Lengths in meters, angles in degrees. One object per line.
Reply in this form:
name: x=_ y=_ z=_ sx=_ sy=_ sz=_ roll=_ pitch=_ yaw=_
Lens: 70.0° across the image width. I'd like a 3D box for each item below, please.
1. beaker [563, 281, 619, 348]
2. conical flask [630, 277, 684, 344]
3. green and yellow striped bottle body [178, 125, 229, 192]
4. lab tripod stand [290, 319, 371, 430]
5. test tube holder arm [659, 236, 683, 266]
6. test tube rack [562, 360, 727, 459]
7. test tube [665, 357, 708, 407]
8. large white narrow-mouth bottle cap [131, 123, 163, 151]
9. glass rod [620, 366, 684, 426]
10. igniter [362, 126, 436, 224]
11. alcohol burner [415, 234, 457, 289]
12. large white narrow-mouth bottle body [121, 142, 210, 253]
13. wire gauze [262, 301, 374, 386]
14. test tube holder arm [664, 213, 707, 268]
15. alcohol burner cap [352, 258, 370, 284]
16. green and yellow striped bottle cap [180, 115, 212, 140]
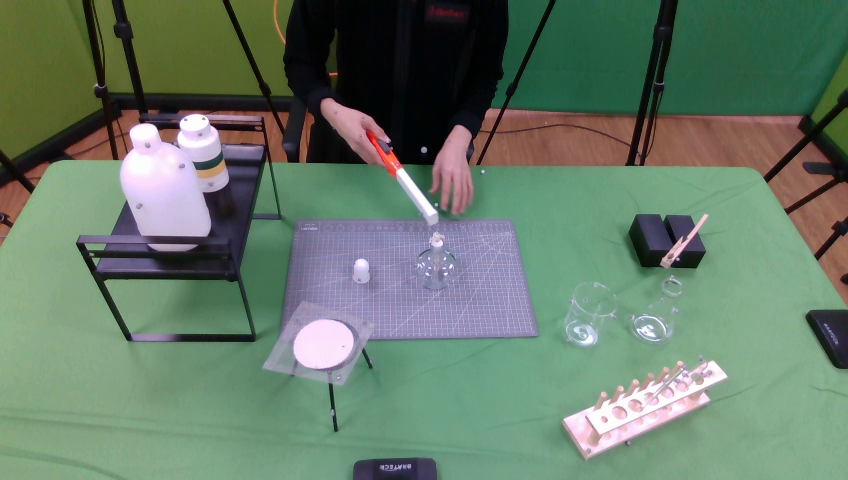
beaker: x=0.283 y=0.129 z=1.041 sx=0.074 sy=0.101 sz=0.083 roll=11 pitch=46 yaw=6
conical flask: x=0.408 y=0.117 z=1.045 sx=0.075 sy=0.122 sz=0.075 roll=2 pitch=46 yaw=-2
green and yellow striped bottle body: x=-0.361 y=-0.142 z=0.989 sx=0.063 sy=0.120 sz=0.063 roll=2 pitch=46 yaw=-2
lab tripod stand: x=-0.146 y=0.193 z=0.923 sx=0.148 sy=0.132 sz=0.147 roll=1 pitch=47 yaw=-1
test tube holder arm: x=0.472 y=0.020 z=1.149 sx=0.010 sy=0.015 sz=0.088 roll=35 pitch=54 yaw=27
test tube rack: x=0.341 y=0.247 z=0.940 sx=0.243 sy=0.085 sz=0.066 roll=-16 pitch=49 yaw=-18
test tube: x=0.387 y=0.216 z=0.905 sx=0.017 sy=0.151 sz=0.017 roll=1 pitch=53 yaw=-1
large white narrow-mouth bottle cap: x=-0.371 y=-0.138 z=0.812 sx=0.038 sy=0.024 sz=0.037 roll=3 pitch=46 yaw=-3
glass rod: x=0.322 y=0.227 z=0.866 sx=0.008 sy=0.200 sz=0.008 roll=5 pitch=51 yaw=-7
igniter: x=-0.052 y=-0.129 z=1.131 sx=0.025 sy=0.057 sz=0.274 roll=-25 pitch=54 yaw=-15
alcohol burner: x=0.022 y=0.033 z=1.099 sx=0.078 sy=0.120 sz=0.077 roll=1 pitch=47 yaw=-1
large white narrow-mouth bottle body: x=-0.378 y=-0.078 z=0.875 sx=0.102 sy=0.195 sz=0.101 roll=3 pitch=46 yaw=-3
wire gauze: x=-0.150 y=0.148 z=0.873 sx=0.121 sy=0.011 sz=0.124 roll=14 pitch=46 yaw=12
test tube holder arm: x=0.507 y=-0.001 z=1.171 sx=0.013 sy=0.015 sz=0.178 roll=34 pitch=54 yaw=26
alcohol burner cap: x=-0.117 y=0.055 z=1.118 sx=0.034 sy=0.048 sz=0.033 roll=2 pitch=46 yaw=-2
green and yellow striped bottle cap: x=-0.358 y=-0.177 z=0.951 sx=0.045 sy=0.020 sz=0.045 roll=1 pitch=45 yaw=-1
